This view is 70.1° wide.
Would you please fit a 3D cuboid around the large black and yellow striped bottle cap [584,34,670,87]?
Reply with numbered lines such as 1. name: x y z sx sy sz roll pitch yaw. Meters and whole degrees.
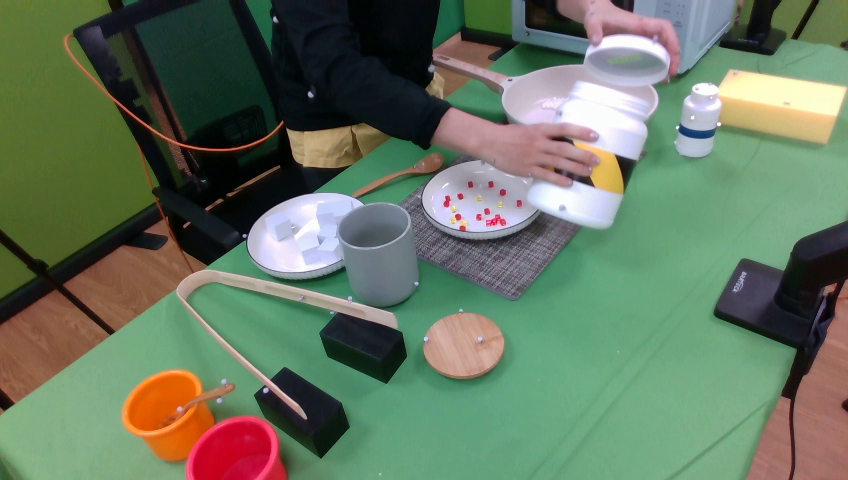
1. large black and yellow striped bottle cap: 0.282 -0.249 0.844 0.114 0.116 0.019 11 80 21

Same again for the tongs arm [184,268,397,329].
1. tongs arm: -0.203 0.084 0.847 0.382 0.027 0.051 11 44 35

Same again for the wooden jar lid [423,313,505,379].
1. wooden jar lid: 0.053 0.142 0.800 0.108 0.021 0.108 -5 39 4

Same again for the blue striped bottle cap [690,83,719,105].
1. blue striped bottle cap: 0.482 -0.251 1.038 0.044 0.021 0.044 -5 39 5

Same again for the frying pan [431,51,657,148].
1. frying pan: 0.216 -0.302 1.223 0.484 0.103 0.308 29 50 24

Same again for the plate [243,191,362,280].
1. plate: -0.188 -0.005 0.992 0.207 0.039 0.206 -3 41 3

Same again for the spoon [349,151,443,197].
1. spoon: -0.051 -0.122 1.120 0.194 0.022 0.041 -22 61 -18

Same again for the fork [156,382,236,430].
1. fork: -0.262 0.189 0.690 0.018 0.206 0.028 49 43 -7

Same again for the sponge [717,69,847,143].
1. sponge: 0.663 -0.256 1.141 0.205 0.061 0.118 19 47 28

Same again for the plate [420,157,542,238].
1. plate: 0.099 -0.068 1.017 0.209 0.038 0.208 -4 40 4

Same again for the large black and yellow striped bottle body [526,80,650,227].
1. large black and yellow striped bottle body: 0.237 -0.124 0.866 0.131 0.184 0.130 17 14 -4

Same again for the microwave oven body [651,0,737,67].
1. microwave oven body: 0.475 -0.602 1.411 0.438 0.261 0.327 23 50 32

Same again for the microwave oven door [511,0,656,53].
1. microwave oven door: 0.351 -0.540 1.349 0.353 0.245 0.039 24 50 31

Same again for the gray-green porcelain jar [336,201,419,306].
1. gray-green porcelain jar: -0.064 0.024 0.872 0.106 0.127 0.105 -4 41 4

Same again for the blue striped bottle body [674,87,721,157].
1. blue striped bottle body: 0.486 -0.213 1.071 0.063 0.121 0.063 -4 41 4

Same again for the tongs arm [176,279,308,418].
1. tongs arm: -0.255 0.132 0.801 0.028 0.028 0.384 -41 40 -23

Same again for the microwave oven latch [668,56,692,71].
1. microwave oven latch: 0.530 -0.386 1.301 0.078 0.029 0.030 24 50 32
